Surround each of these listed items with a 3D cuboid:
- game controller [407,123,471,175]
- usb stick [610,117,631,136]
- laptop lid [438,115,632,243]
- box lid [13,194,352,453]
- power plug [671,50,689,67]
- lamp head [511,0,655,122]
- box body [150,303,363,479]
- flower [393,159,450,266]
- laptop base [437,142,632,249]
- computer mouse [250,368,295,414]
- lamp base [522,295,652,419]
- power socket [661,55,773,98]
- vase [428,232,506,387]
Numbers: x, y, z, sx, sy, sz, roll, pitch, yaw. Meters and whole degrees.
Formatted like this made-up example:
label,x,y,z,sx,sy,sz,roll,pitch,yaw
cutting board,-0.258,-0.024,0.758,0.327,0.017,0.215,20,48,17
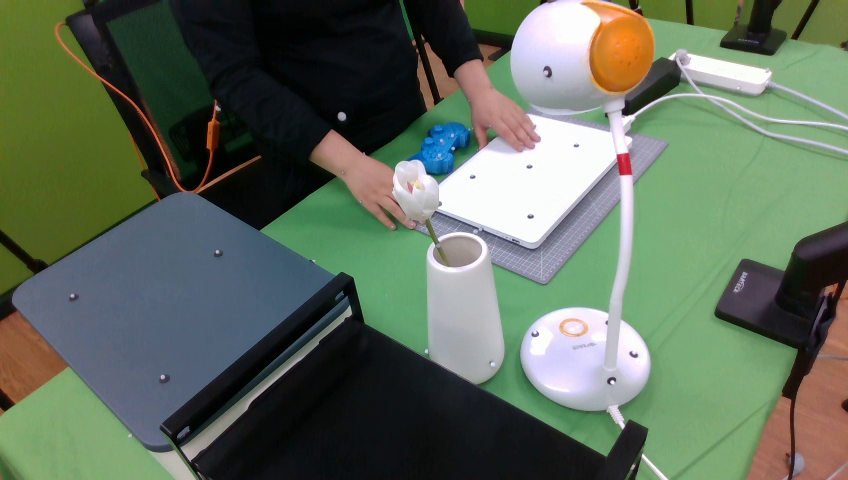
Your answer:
label,x,y,z,sx,sy,sz,roll,pitch,yaw
game controller,0.028,-0.181,1.169,0.096,0.052,0.155,14,45,19
usb stick,0.369,-0.208,1.147,0.021,0.027,0.059,25,55,33
laptop lid,0.189,-0.126,1.081,0.239,0.013,0.358,23,49,35
box lid,-0.291,0.067,0.716,0.368,0.015,0.264,25,50,33
power plug,0.540,-0.379,1.302,0.073,0.053,0.035,-31,46,-23
lamp head,0.155,-0.168,0.563,0.113,0.113,0.122,-18,23,-12
box body,-0.284,0.123,0.765,0.361,0.161,0.255,25,49,33
flower,0.028,0.036,0.664,0.043,0.364,0.038,35,73,29
laptop base,0.193,-0.117,1.087,0.233,0.023,0.355,21,48,34
computer mouse,-0.196,0.182,0.771,0.063,0.041,0.116,-12,47,-11
lamp base,0.201,0.095,0.710,0.161,0.181,0.178,-16,43,-10
power socket,0.619,-0.352,1.289,0.225,0.033,0.072,26,51,33
vase,0.050,0.087,0.728,0.098,0.201,0.097,-3,40,3
